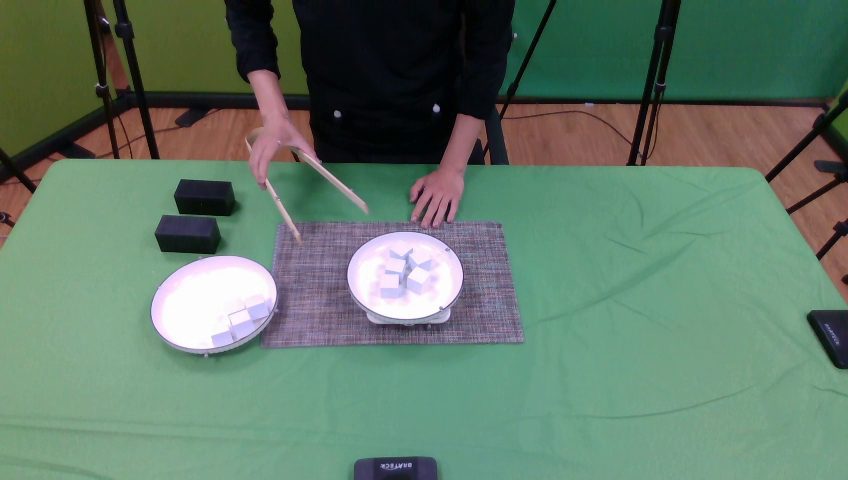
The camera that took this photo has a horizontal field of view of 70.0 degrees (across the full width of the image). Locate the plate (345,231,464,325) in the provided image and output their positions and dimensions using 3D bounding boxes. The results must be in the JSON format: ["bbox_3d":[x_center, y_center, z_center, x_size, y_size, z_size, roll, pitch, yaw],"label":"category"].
[{"bbox_3d":[-0.034,0.069,1.069,0.209,0.038,0.208,2,46,-2],"label":"plate"}]

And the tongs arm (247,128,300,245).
[{"bbox_3d":[-0.279,-0.112,1.144,0.051,0.027,0.382,-26,44,-14],"label":"tongs arm"}]

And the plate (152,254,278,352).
[{"bbox_3d":[-0.357,0.111,1.052,0.208,0.039,0.206,2,46,-2],"label":"plate"}]

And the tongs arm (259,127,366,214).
[{"bbox_3d":[-0.220,-0.142,1.164,0.028,0.028,0.385,-36,47,-18],"label":"tongs arm"}]

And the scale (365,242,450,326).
[{"bbox_3d":[-0.032,0.071,1.113,0.149,0.032,0.199,0,46,-4],"label":"scale"}]
